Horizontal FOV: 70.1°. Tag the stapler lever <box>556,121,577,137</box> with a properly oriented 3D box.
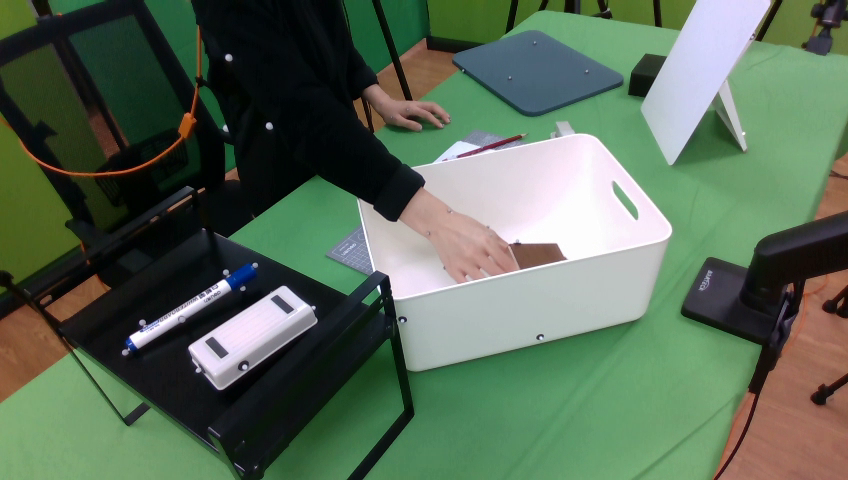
[{"bbox_3d":[0.266,-0.198,1.128,0.027,0.040,0.117,0,38,3],"label":"stapler lever"}]

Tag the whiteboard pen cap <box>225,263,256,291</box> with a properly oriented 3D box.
[{"bbox_3d":[-0.204,0.041,0.668,0.033,0.018,0.018,-36,48,-22],"label":"whiteboard pen cap"}]

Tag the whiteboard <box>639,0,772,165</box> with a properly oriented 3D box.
[{"bbox_3d":[0.543,-0.298,1.076,0.144,0.305,0.216,12,40,-7],"label":"whiteboard"}]

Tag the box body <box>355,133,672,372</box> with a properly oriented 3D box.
[{"bbox_3d":[0.108,0.013,0.834,0.365,0.161,0.252,-12,41,-6],"label":"box body"}]

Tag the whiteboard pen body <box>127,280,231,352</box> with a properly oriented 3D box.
[{"bbox_3d":[-0.248,0.072,0.645,0.141,0.017,0.017,-35,47,-23],"label":"whiteboard pen body"}]

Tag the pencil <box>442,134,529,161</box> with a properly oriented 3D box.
[{"bbox_3d":[0.123,-0.180,1.175,0.195,0.012,0.012,-20,42,-17],"label":"pencil"}]

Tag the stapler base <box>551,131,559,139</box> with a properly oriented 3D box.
[{"bbox_3d":[0.268,-0.178,1.142,0.041,0.024,0.130,0,37,3],"label":"stapler base"}]

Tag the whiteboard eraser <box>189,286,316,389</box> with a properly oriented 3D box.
[{"bbox_3d":[-0.166,0.096,0.593,0.113,0.042,0.055,-36,47,-29],"label":"whiteboard eraser"}]

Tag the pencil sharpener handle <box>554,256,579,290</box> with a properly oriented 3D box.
[{"bbox_3d":[0.195,0.047,0.805,0.031,0.068,0.036,-1,58,-11],"label":"pencil sharpener handle"}]

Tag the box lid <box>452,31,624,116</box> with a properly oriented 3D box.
[{"bbox_3d":[0.256,-0.401,1.419,0.264,0.015,0.368,-22,43,-17],"label":"box lid"}]

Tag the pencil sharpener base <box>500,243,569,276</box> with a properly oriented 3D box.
[{"bbox_3d":[0.144,0.061,0.799,0.077,0.107,0.061,-1,40,-12],"label":"pencil sharpener base"}]
